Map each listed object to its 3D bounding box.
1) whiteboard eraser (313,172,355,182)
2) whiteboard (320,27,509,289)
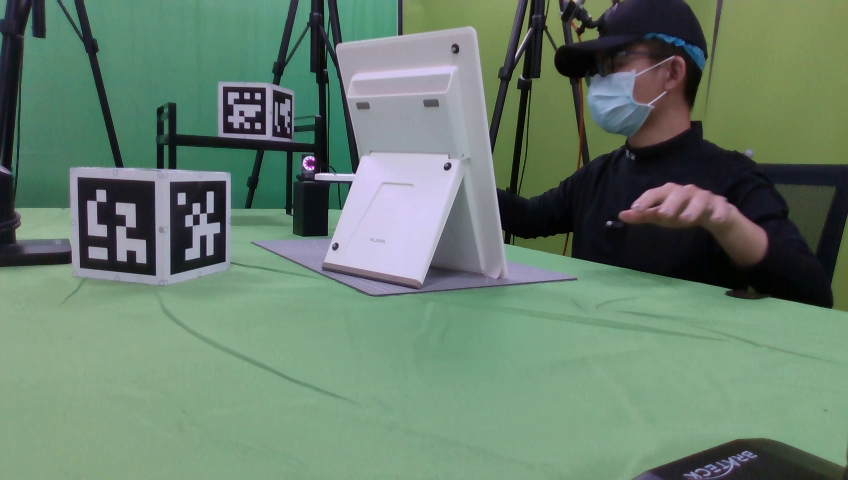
[{"bbox_3d":[-0.163,-0.121,1.158,0.102,0.019,0.041,-1,6,-33],"label":"whiteboard eraser"},{"bbox_3d":[-0.046,-0.076,0.721,0.216,0.305,0.144,9,29,39],"label":"whiteboard"}]
